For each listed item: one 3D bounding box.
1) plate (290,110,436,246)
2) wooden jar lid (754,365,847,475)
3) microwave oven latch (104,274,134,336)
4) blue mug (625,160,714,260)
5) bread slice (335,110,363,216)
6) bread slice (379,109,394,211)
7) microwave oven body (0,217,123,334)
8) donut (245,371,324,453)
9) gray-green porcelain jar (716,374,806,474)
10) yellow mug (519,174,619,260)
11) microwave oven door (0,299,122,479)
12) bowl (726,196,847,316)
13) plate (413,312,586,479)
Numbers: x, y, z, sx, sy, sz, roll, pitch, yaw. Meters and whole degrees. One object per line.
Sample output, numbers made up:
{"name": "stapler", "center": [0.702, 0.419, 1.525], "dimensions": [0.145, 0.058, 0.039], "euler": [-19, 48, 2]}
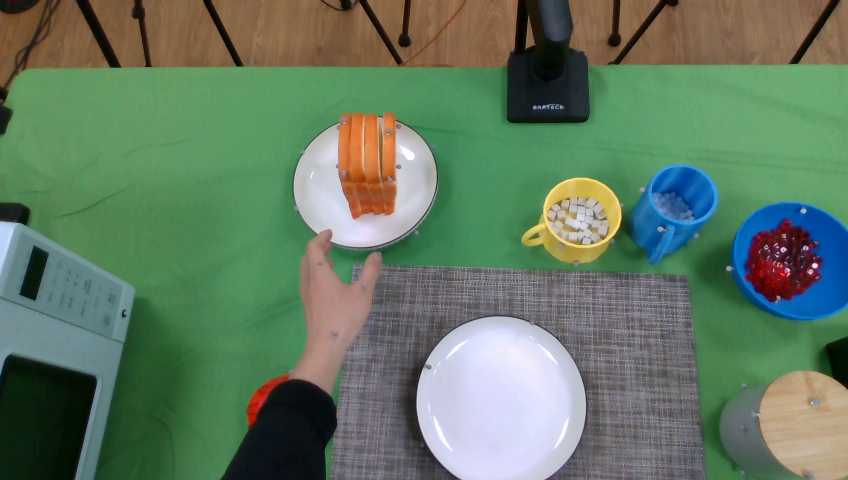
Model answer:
{"name": "plate", "center": [-0.085, -0.086, 0.865], "dimensions": [0.207, 0.039, 0.206], "euler": [-1, 71, 4]}
{"name": "wooden jar lid", "center": [0.391, 0.183, 0.618], "dimensions": [0.108, 0.021, 0.107], "euler": [-1, 72, 2]}
{"name": "microwave oven latch", "center": [-0.412, 0.086, 0.807], "dimensions": [0.030, 0.030, 0.078], "euler": [5, 71, 6]}
{"name": "blue mug", "center": [0.307, -0.028, 0.778], "dimensions": [0.082, 0.106, 0.116], "euler": [20, 73, 12]}
{"name": "bread slice", "center": [-0.100, -0.110, 0.815], "dimensions": [0.018, 0.135, 0.106], "euler": [-1, 66, 2]}
{"name": "bread slice", "center": [-0.051, -0.109, 0.812], "dimensions": [0.019, 0.132, 0.104], "euler": [0, 72, -4]}
{"name": "microwave oven body", "center": [-0.577, 0.215, 0.670], "dimensions": [0.326, 0.262, 0.439], "euler": [2, 71, 5]}
{"name": "donut", "center": [-0.173, 0.215, 0.761], "dimensions": [0.099, 0.048, 0.098], "euler": [0, 70, 2]}
{"name": "gray-green porcelain jar", "center": [0.396, 0.205, 0.676], "dimensions": [0.106, 0.127, 0.105], "euler": [-1, 70, 4]}
{"name": "yellow mug", "center": [0.188, -0.024, 0.807], "dimensions": [0.131, 0.064, 0.099], "euler": [-20, 69, -1]}
{"name": "microwave oven door", "center": [-0.435, 0.257, 0.639], "dimensions": [0.039, 0.245, 0.353], "euler": [1, 70, 5]}
{"name": "bowl", "center": [0.448, 0.029, 0.761], "dimensions": [0.151, 0.077, 0.150], "euler": [-1, 70, 4]}
{"name": "plate", "center": [0.092, 0.193, 0.747], "dimensions": [0.209, 0.038, 0.207], "euler": [-1, 70, 4]}
